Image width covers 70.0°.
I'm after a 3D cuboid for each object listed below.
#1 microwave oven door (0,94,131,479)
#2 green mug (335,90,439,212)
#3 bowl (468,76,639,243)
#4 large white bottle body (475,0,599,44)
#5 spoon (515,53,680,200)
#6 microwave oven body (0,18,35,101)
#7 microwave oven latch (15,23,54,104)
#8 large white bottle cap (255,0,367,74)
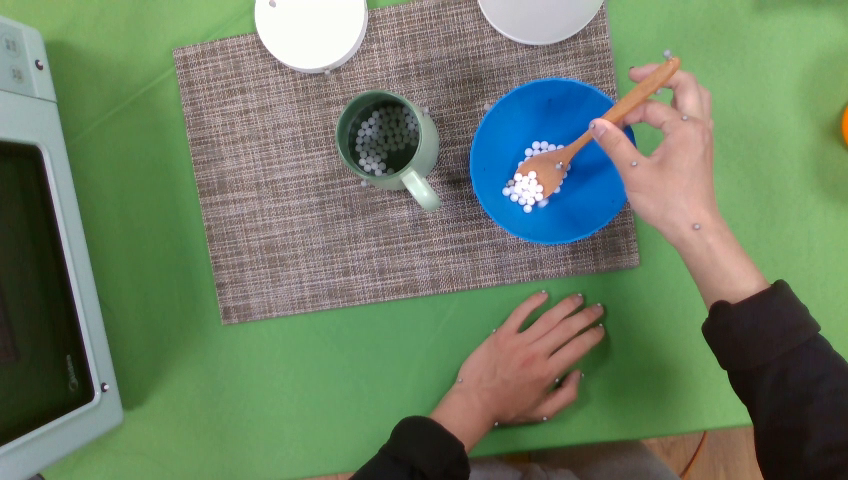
[{"bbox_3d":[-0.386,0.041,0.545,0.039,0.244,0.356,-11,93,7],"label":"microwave oven door"},{"bbox_3d":[-0.025,-0.081,0.581,0.092,0.105,0.125,-36,90,6],"label":"green mug"},{"bbox_3d":[0.119,-0.074,0.581,0.151,0.077,0.151,0,95,7],"label":"bowl"},{"bbox_3d":[0.102,-0.259,0.514,0.130,0.185,0.130,0,90,6],"label":"large white bottle body"},{"bbox_3d":[0.144,-0.092,0.528,0.041,0.021,0.194,52,141,4],"label":"spoon"},{"bbox_3d":[-0.536,0.025,0.563,0.326,0.260,0.442,-11,94,6],"label":"microwave oven body"},{"bbox_3d":[-0.414,-0.181,0.631,0.030,0.029,0.079,-10,94,6],"label":"microwave oven latch"},{"bbox_3d":[-0.116,-0.230,0.622,0.115,0.018,0.115,0,94,5],"label":"large white bottle cap"}]
